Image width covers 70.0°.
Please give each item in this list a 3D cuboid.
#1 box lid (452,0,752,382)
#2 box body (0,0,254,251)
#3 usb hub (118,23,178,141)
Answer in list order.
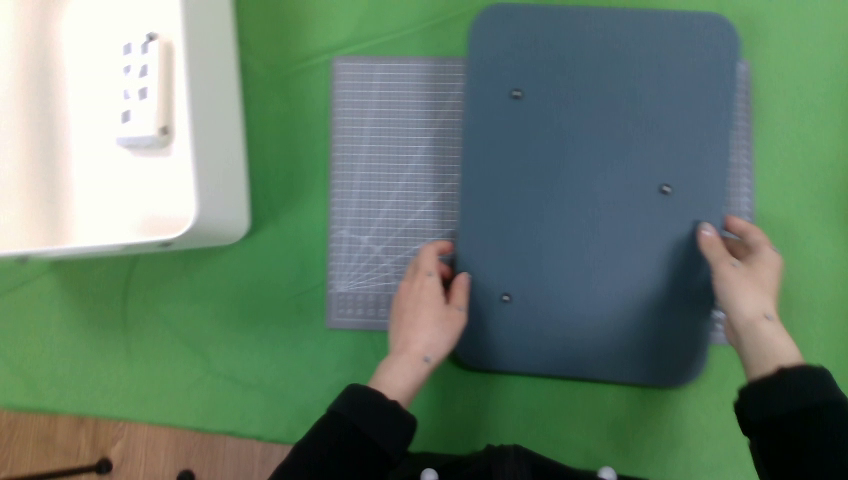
[{"bbox_3d":[0.170,-0.041,0.607,0.263,0.015,0.372,4,98,4],"label":"box lid"},{"bbox_3d":[-0.315,-0.172,0.598,0.254,0.160,0.363,-4,86,2],"label":"box body"},{"bbox_3d":[-0.299,-0.172,0.657,0.049,0.025,0.125,2,85,5],"label":"usb hub"}]
